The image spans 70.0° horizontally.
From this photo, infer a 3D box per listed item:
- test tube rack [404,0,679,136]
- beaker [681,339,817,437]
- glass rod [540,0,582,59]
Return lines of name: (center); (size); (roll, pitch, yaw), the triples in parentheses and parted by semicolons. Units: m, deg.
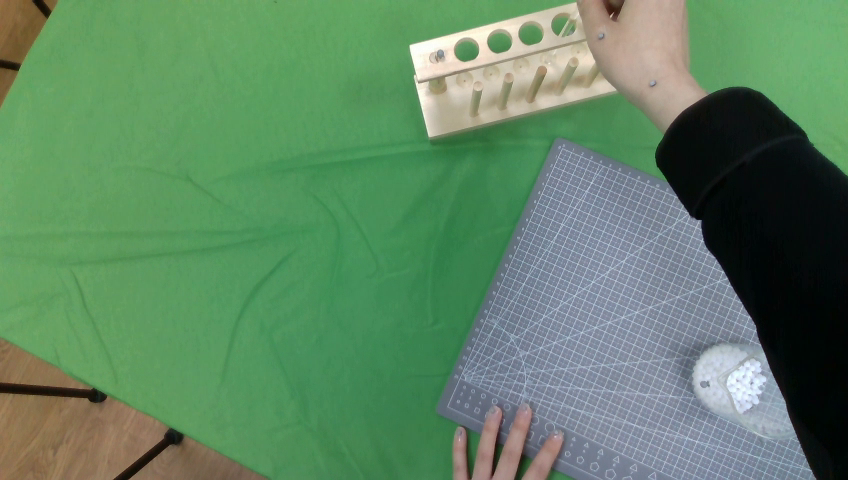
test tube rack: (0.108, -0.168, 0.573); (0.242, 0.085, 0.066); (-13, 85, 0)
beaker: (0.278, 0.125, 0.539); (0.084, 0.100, 0.074); (13, 85, 3)
glass rod: (0.129, -0.200, 0.509); (0.008, 0.200, 0.008); (1, 80, -6)
